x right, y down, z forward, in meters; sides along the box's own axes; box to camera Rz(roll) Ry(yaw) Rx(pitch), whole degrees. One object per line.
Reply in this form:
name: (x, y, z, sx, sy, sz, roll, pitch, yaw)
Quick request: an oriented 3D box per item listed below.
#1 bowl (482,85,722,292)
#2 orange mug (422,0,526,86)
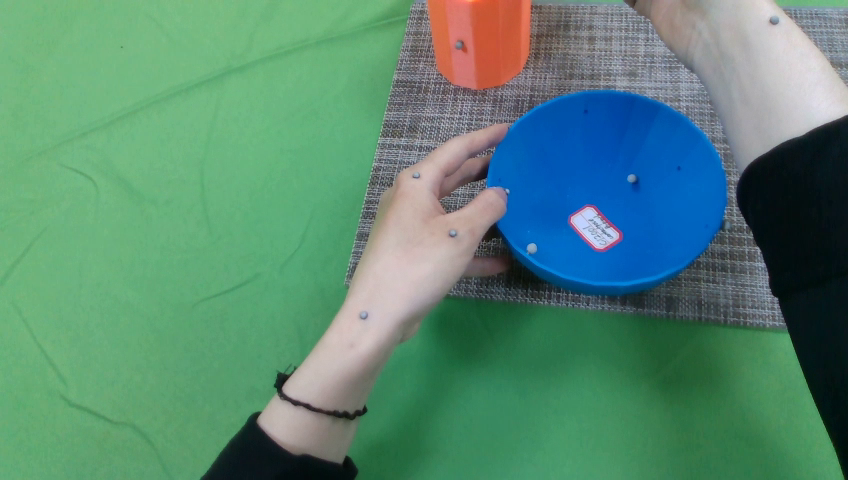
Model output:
bowl: (0.117, -0.024, 0.422, 0.151, 0.077, 0.150, -3, 63, 7)
orange mug: (0.048, -0.211, 0.515, 0.083, 0.101, 0.125, 16, 71, 16)
